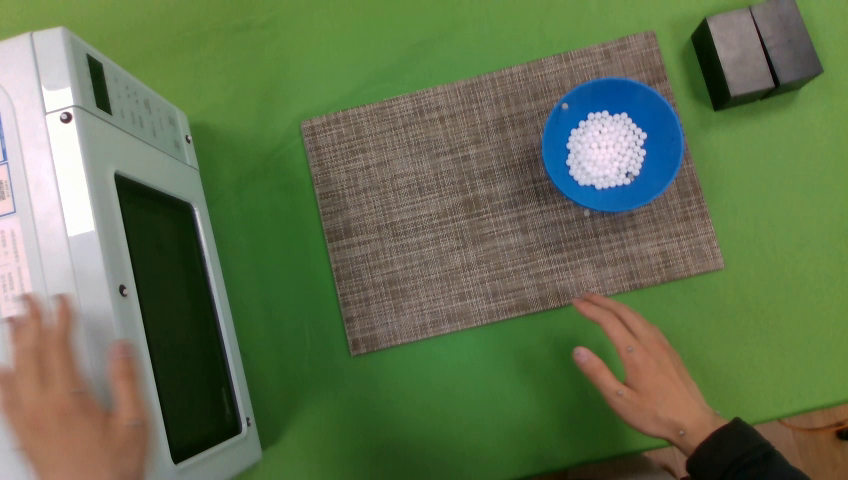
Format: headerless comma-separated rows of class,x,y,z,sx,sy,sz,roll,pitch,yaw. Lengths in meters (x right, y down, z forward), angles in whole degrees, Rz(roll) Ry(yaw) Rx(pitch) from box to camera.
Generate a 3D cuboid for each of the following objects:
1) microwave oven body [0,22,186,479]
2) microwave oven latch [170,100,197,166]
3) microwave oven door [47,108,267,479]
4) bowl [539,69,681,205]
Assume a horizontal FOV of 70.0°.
microwave oven body,-0.407,0.071,0.629,0.326,0.261,0.440,-16,84,2
microwave oven latch,-0.302,-0.127,0.738,0.030,0.029,0.079,-16,84,2
microwave oven door,-0.256,0.071,0.612,0.039,0.244,0.354,-16,83,3
bowl,0.203,-0.108,0.689,0.151,0.077,0.151,0,84,5
